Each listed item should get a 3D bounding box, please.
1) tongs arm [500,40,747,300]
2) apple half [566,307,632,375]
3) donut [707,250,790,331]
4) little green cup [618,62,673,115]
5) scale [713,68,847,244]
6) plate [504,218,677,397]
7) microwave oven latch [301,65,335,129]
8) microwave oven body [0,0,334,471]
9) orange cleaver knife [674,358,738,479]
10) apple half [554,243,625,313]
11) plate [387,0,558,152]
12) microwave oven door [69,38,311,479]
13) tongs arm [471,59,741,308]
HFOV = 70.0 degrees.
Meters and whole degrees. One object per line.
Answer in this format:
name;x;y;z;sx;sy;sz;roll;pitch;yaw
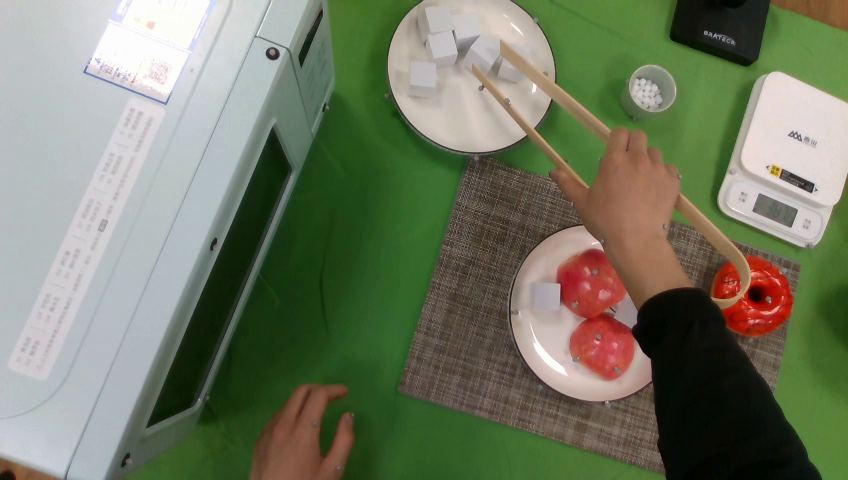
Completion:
tongs arm;0.198;-0.092;0.647;0.028;0.028;0.384;-33;65;-11
apple half;0.211;0.117;0.712;0.081;0.033;0.081;0;84;-2
donut;0.396;0.062;0.744;0.099;0.048;0.098;1;82;-4
little green cup;0.278;-0.189;0.766;0.061;0.038;0.061;1;83;-6
scale;0.469;-0.109;0.782;0.149;0.031;0.200;23;82;-3
plate;0.195;0.079;0.722;0.209;0.038;0.208;1;83;-6
microwave oven latch;-0.128;-0.171;0.697;0.030;0.029;0.079;23;82;-4
microwave oven body;-0.317;-0.071;0.567;0.326;0.260;0.440;21;82;-4
orange cleaver knife;0.343;0.249;0.729;0.077;0.012;0.210;1;82;-12
apple half;0.197;0.042;0.711;0.081;0.053;0.074;-27;84;-9
plate;0.058;-0.206;0.742;0.208;0.039;0.207;1;83;-7
microwave oven door;-0.194;0.019;0.565;0.039;0.244;0.355;20;81;-3
tongs arm;0.176;-0.077;0.643;0.051;0.027;0.381;-32;65;-6
